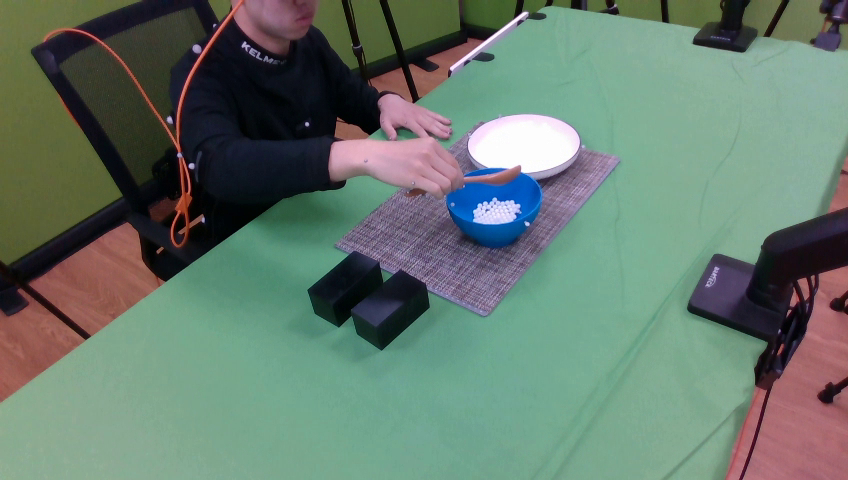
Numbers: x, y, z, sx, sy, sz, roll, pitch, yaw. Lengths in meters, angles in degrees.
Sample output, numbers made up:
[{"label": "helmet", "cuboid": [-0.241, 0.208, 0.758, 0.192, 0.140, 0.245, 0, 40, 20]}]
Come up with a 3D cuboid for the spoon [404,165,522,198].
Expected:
[{"label": "spoon", "cuboid": [0.059, -0.084, 0.881, 0.195, 0.041, 0.021, -10, 72, -20]}]

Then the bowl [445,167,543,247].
[{"label": "bowl", "cuboid": [0.111, -0.042, 0.952, 0.151, 0.077, 0.150, -4, 41, 4]}]

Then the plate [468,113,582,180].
[{"label": "plate", "cuboid": [0.186, -0.169, 1.122, 0.207, 0.039, 0.206, -4, 40, 4]}]
